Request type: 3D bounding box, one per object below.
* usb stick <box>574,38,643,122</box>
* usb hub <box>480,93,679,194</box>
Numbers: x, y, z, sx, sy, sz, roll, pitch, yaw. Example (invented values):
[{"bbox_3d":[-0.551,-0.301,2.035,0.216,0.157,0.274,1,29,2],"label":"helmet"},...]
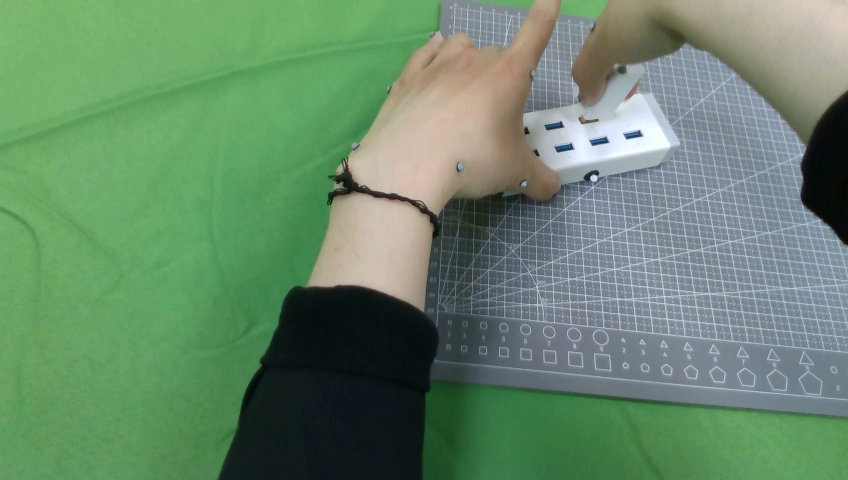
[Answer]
[{"bbox_3d":[0.113,-0.097,0.384,0.021,0.059,0.027,-15,65,-15],"label":"usb stick"},{"bbox_3d":[0.104,-0.067,0.408,0.125,0.025,0.049,-11,65,-14],"label":"usb hub"}]
